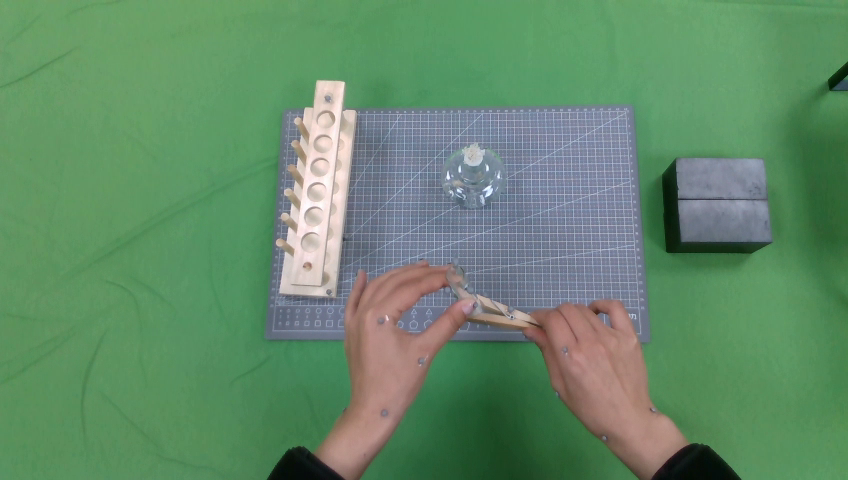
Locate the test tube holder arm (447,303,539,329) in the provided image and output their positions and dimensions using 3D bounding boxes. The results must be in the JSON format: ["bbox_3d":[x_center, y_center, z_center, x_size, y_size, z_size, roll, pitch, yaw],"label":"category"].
[{"bbox_3d":[0.065,0.072,0.574,0.088,0.015,0.010,8,68,5],"label":"test tube holder arm"}]

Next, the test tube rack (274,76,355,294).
[{"bbox_3d":[-0.133,-0.064,0.716,0.067,0.085,0.241,4,76,4],"label":"test tube rack"}]

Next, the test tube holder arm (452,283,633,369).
[{"bbox_3d":[0.109,0.080,0.569,0.178,0.015,0.013,22,71,10],"label":"test tube holder arm"}]

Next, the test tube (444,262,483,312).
[{"bbox_3d":[0.037,0.046,0.528,0.017,0.151,0.017,-3,72,11],"label":"test tube"}]

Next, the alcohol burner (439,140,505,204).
[{"bbox_3d":[0.055,-0.084,0.698,0.078,0.119,0.077,-1,77,4],"label":"alcohol burner"}]
